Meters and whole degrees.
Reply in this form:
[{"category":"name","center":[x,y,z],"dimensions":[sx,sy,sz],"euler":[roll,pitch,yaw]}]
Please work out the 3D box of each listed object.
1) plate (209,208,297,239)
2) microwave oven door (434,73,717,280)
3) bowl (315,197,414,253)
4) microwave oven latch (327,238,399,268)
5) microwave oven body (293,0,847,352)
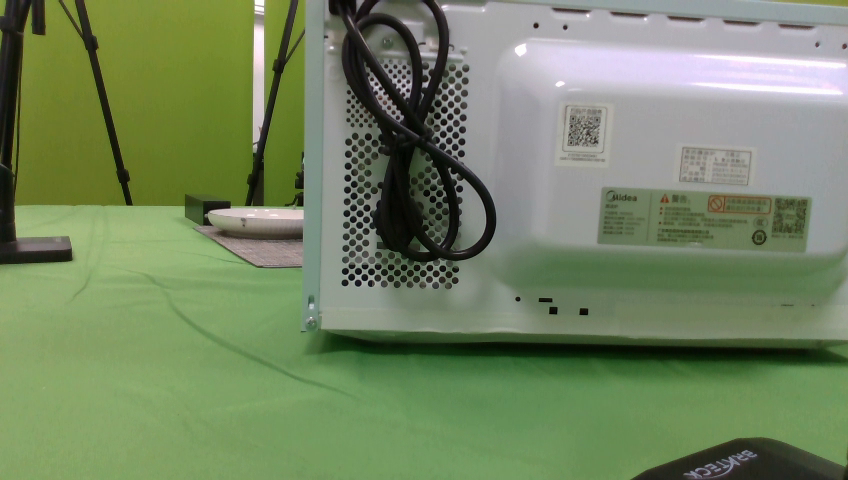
[{"category":"plate","center":[-0.271,-0.029,1.074],"dimensions":[0.208,0.039,0.207],"euler":[3,7,0]},{"category":"microwave oven door","center":[0.180,-0.089,0.794],"dimensions":[0.354,0.243,0.039],"euler":[6,7,30]},{"category":"bowl","center":[-0.092,-0.023,0.931],"dimensions":[0.151,0.077,0.151],"euler":[3,7,0]},{"category":"microwave oven latch","center":[-0.069,0.015,0.694],"dimensions":[0.079,0.029,0.030],"euler":[3,7,-3]},{"category":"microwave oven body","center":[0.122,-0.055,0.550],"dimensions":[0.442,0.260,0.325],"euler":[3,7,-5]}]
